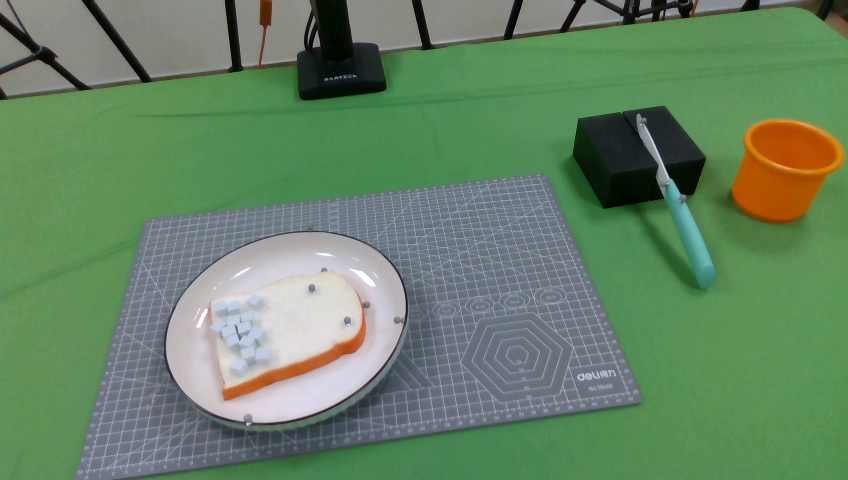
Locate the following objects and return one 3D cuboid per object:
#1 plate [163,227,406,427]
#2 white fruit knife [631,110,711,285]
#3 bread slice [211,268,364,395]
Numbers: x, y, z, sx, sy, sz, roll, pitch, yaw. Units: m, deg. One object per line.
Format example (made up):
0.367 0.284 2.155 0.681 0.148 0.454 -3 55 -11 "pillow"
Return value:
-0.118 0.073 0.534 0.209 0.038 0.207 -1 46 2 "plate"
0.244 -0.053 0.610 0.016 0.027 0.205 -8 61 -5 "white fruit knife"
-0.121 0.071 0.540 0.132 0.019 0.103 -19 48 -13 "bread slice"
